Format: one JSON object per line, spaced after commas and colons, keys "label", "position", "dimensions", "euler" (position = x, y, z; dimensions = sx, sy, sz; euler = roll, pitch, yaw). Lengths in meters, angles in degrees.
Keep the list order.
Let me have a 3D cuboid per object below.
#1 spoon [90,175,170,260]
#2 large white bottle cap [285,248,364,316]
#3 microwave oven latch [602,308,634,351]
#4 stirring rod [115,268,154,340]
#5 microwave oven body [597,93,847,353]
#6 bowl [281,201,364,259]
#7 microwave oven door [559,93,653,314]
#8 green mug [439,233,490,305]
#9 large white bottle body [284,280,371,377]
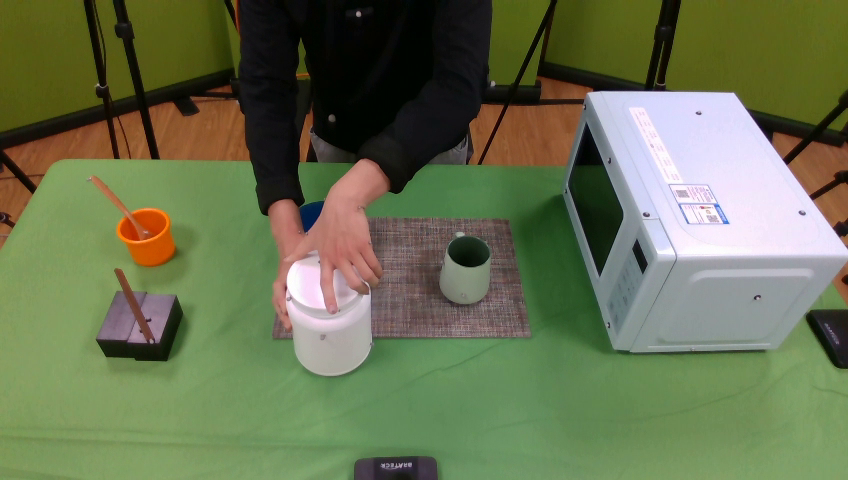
{"label": "spoon", "position": [-0.539, -0.042, 1.111], "dimensions": [0.021, 0.194, 0.041], "euler": [-15, 25, 51]}
{"label": "large white bottle cap", "position": [-0.146, 0.060, 0.896], "dimensions": [0.115, 0.018, 0.114], "euler": [3, 49, -3]}
{"label": "microwave oven latch", "position": [0.332, 0.153, 1.044], "dimensions": [0.030, 0.029, 0.078], "euler": [-1, 45, -4]}
{"label": "stirring rod", "position": [-0.479, 0.102, 0.999], "dimensions": [0.014, 0.006, 0.175], "euler": [8, 32, -49]}
{"label": "microwave oven body", "position": [0.475, -0.041, 1.109], "dimensions": [0.326, 0.261, 0.438], "euler": [-1, 45, -4]}
{"label": "bowl", "position": [-0.187, 0.005, 1.137], "dimensions": [0.151, 0.077, 0.150], "euler": [3, 46, -3]}
{"label": "microwave oven door", "position": [0.327, -0.074, 1.123], "dimensions": [0.039, 0.245, 0.353], "euler": [-1, 46, -5]}
{"label": "green mug", "position": [0.072, 0.045, 1.101], "dimensions": [0.092, 0.105, 0.124], "euler": [-6, 46, -9]}
{"label": "large white bottle body", "position": [-0.150, 0.117, 0.960], "dimensions": [0.131, 0.185, 0.130], "euler": [1, 48, -1]}
